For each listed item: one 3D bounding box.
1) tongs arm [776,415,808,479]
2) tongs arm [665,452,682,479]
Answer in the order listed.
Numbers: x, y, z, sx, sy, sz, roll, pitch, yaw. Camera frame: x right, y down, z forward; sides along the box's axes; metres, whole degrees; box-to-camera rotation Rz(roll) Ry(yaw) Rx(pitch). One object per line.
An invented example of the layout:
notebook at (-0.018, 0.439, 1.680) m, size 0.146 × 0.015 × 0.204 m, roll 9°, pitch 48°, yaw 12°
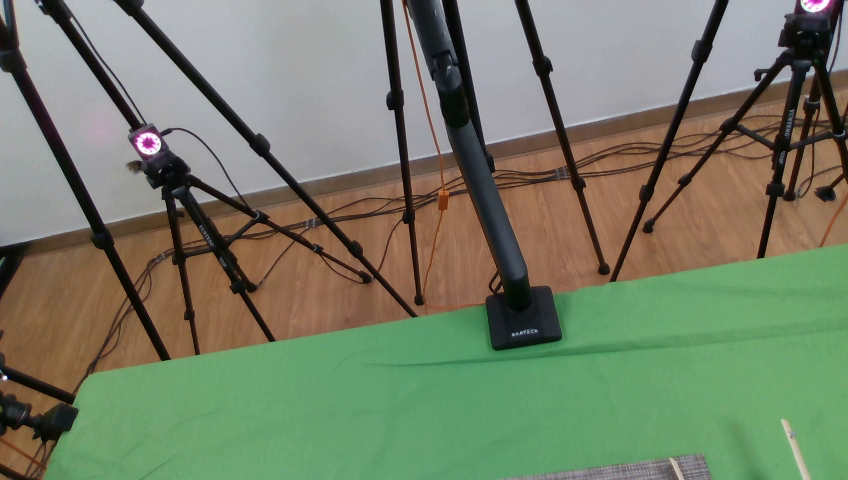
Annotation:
tongs arm at (0.440, 0.385, 0.665) m, size 0.050 × 0.027 × 0.381 m, roll -26°, pitch 46°, yaw 28°
tongs arm at (0.377, 0.423, 0.700) m, size 0.028 × 0.028 × 0.383 m, roll -33°, pitch 42°, yaw 16°
